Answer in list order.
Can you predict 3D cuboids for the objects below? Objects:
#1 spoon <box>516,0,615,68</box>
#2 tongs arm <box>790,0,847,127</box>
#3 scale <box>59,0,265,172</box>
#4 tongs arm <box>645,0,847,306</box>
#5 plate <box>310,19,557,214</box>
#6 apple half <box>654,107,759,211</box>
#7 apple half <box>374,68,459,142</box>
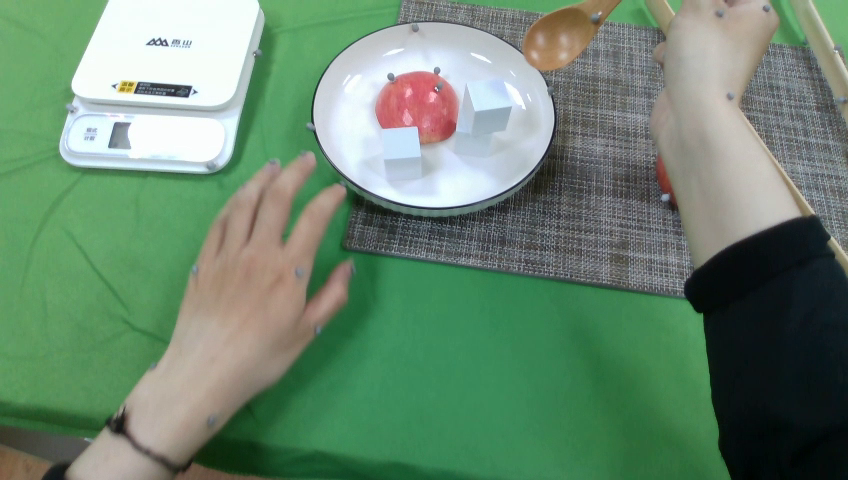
[{"bbox_3d":[0.151,-0.185,0.428,0.193,0.021,0.041,-29,89,27],"label":"spoon"},{"bbox_3d":[0.372,-0.108,0.546,0.051,0.027,0.381,-2,62,-4],"label":"tongs arm"},{"bbox_3d":[-0.234,-0.153,0.552,0.149,0.032,0.199,4,62,0],"label":"scale"},{"bbox_3d":[0.290,-0.098,0.539,0.028,0.028,0.384,-13,63,-13],"label":"tongs arm"},{"bbox_3d":[0.008,-0.107,0.528,0.209,0.038,0.207,1,61,-2],"label":"plate"},{"bbox_3d":[0.217,-0.058,0.489,0.053,0.075,0.080,-27,68,-11],"label":"apple half"},{"bbox_3d":[-0.005,-0.125,0.531,0.081,0.033,0.080,1,59,0],"label":"apple half"}]
